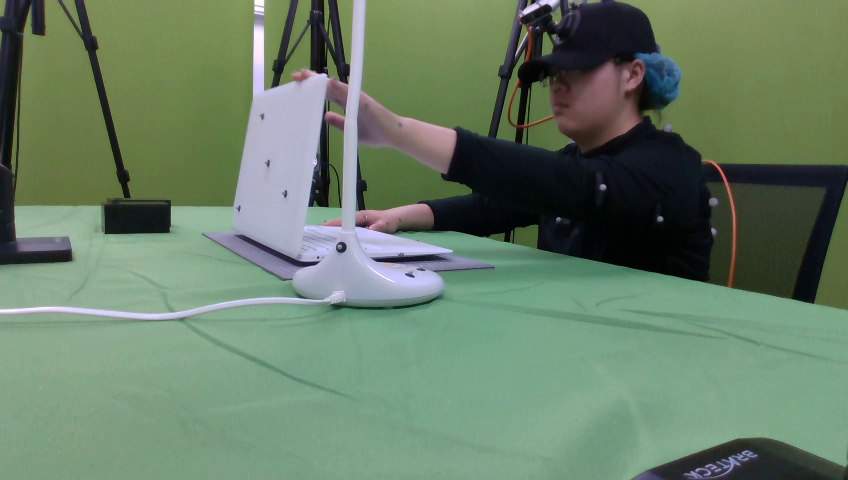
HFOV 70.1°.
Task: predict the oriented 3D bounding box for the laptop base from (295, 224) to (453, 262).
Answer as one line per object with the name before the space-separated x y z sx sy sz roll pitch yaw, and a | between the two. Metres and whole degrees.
laptop base | -0.143 0.003 0.957 0.237 0.023 0.352 2 6 -32

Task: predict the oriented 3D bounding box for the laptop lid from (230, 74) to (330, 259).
laptop lid | -0.225 -0.113 0.889 0.013 0.241 0.355 9 4 -32

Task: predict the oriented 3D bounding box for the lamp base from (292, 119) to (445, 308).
lamp base | -0.056 -0.030 0.616 0.160 0.180 0.179 3 10 8
